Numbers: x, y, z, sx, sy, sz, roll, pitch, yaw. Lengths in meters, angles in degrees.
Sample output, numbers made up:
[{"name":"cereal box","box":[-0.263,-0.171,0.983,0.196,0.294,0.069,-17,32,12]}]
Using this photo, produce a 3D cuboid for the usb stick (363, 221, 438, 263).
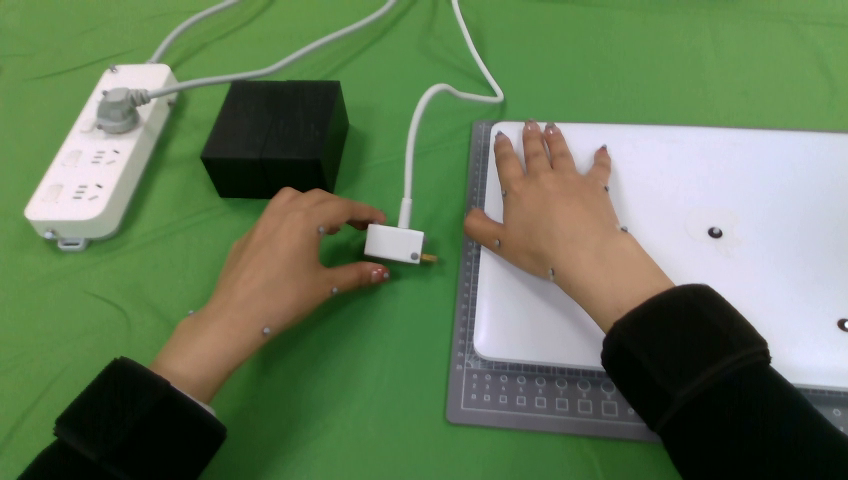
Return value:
[{"name":"usb stick","box":[-0.017,0.003,0.479,0.059,0.021,0.027,13,91,2]}]

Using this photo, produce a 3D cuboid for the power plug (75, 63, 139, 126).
[{"name":"power plug","box":[-0.282,-0.135,0.538,0.053,0.073,0.035,13,35,-17]}]

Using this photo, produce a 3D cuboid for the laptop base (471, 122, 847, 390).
[{"name":"laptop base","box":[0.221,0.003,0.472,0.354,0.023,0.233,4,56,7]}]

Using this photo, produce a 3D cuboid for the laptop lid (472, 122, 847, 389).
[{"name":"laptop lid","box":[0.220,-0.003,0.461,0.356,0.013,0.239,5,55,8]}]

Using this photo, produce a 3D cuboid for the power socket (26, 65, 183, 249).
[{"name":"power socket","box":[-0.291,-0.090,0.568,0.072,0.033,0.224,2,52,3]}]
